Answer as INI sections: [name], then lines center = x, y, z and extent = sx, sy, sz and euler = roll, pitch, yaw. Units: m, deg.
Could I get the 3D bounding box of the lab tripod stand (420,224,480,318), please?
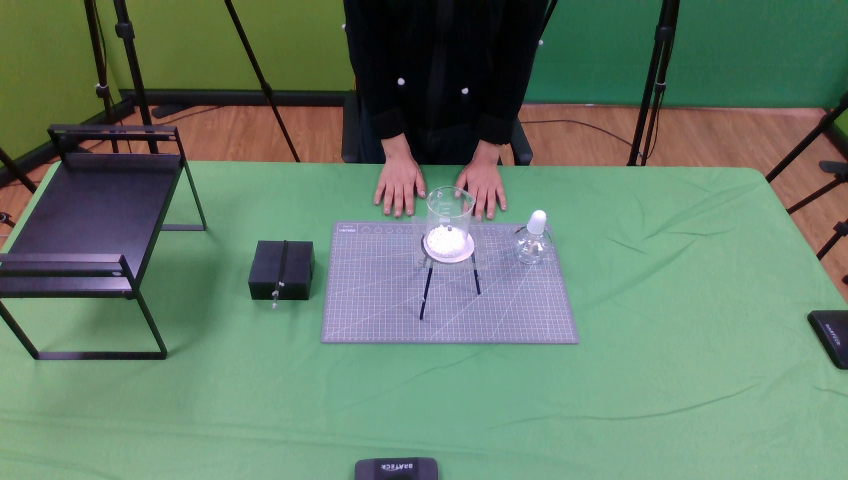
[lab tripod stand]
center = 0.034, 0.051, 1.070
extent = 0.148, 0.132, 0.147
euler = 3, 48, -3

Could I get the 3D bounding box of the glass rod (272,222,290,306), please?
[glass rod]
center = -0.255, 0.039, 1.084
extent = 0.008, 0.008, 0.198
euler = 1, 46, -3

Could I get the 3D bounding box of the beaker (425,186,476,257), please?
[beaker]
center = 0.041, -0.028, 0.989
extent = 0.084, 0.101, 0.073
euler = -12, 48, -15

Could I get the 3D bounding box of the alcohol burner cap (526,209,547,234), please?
[alcohol burner cap]
center = 0.212, -0.037, 1.133
extent = 0.034, 0.048, 0.033
euler = 4, 51, -5

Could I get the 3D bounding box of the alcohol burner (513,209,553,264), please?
[alcohol burner]
center = 0.210, -0.012, 1.159
extent = 0.078, 0.120, 0.077
euler = 1, 44, -1

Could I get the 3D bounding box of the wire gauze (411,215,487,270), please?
[wire gauze]
center = 0.041, 0.003, 1.026
extent = 0.125, 0.011, 0.120
euler = 0, 46, -1
